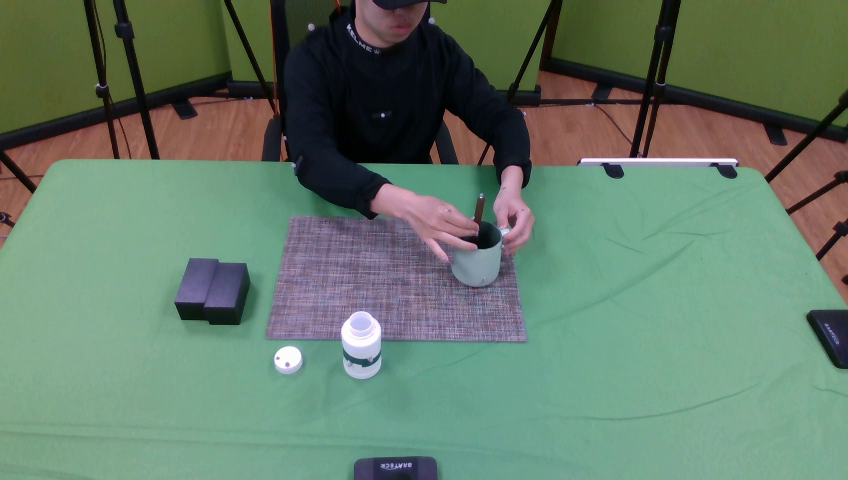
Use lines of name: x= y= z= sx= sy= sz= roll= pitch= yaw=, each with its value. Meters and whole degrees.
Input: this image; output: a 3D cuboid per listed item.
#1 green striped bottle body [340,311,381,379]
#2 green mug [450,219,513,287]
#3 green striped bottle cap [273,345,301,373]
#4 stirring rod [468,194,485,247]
green striped bottle body: x=-0.101 y=0.164 z=0.964 sx=0.063 sy=0.120 sz=0.063 roll=2 pitch=46 yaw=-2
green mug: x=0.111 y=0.019 z=1.125 sx=0.125 sy=0.105 sz=0.092 roll=-22 pitch=52 yaw=-23
green striped bottle cap: x=-0.225 y=0.195 z=0.997 sx=0.044 sy=0.020 sz=0.044 roll=2 pitch=50 yaw=-3
stirring rod: x=0.091 y=-0.015 z=1.095 sx=0.014 sy=0.177 sz=0.006 roll=-2 pitch=46 yaw=-9
